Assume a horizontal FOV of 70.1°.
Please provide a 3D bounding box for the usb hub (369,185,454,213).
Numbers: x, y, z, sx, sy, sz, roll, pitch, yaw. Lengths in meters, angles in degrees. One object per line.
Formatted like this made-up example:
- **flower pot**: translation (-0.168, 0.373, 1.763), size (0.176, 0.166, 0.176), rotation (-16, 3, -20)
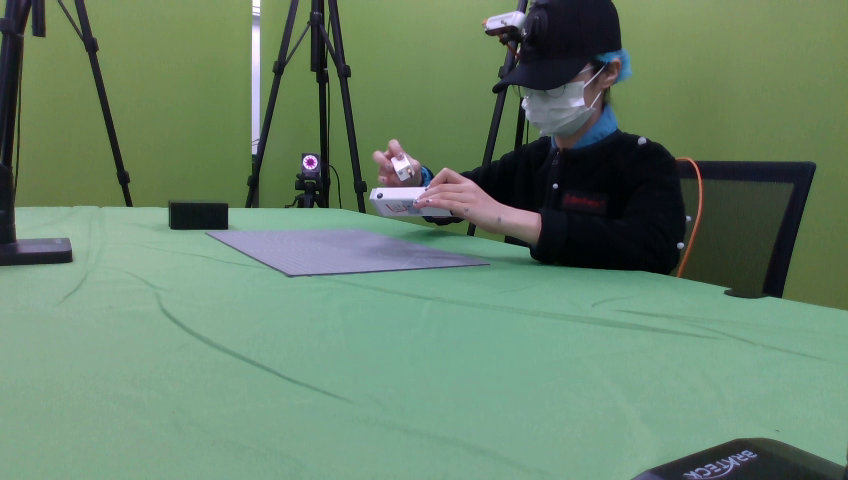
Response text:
- **usb hub**: translation (-0.020, -0.063, 0.936), size (0.125, 0.025, 0.050), rotation (1, -29, 22)

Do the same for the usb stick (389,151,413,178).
- **usb stick**: translation (-0.034, -0.117, 0.960), size (0.027, 0.021, 0.059), rotation (-28, 39, -1)
